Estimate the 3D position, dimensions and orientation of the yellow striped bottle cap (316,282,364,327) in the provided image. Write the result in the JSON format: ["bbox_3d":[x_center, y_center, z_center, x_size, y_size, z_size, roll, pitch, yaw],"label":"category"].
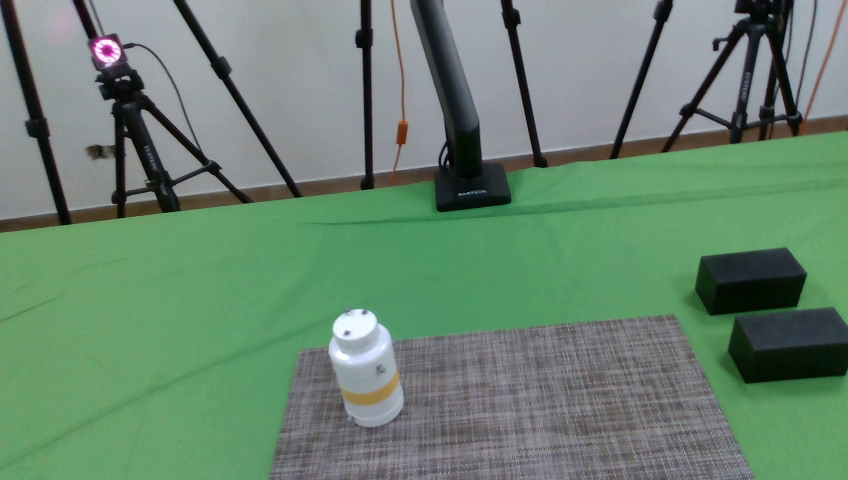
[{"bbox_3d":[-0.079,0.062,0.577,0.044,0.019,0.044,-7,43,7],"label":"yellow striped bottle cap"}]

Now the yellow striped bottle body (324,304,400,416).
[{"bbox_3d":[-0.064,0.119,0.622,0.063,0.121,0.062,-6,37,5],"label":"yellow striped bottle body"}]
